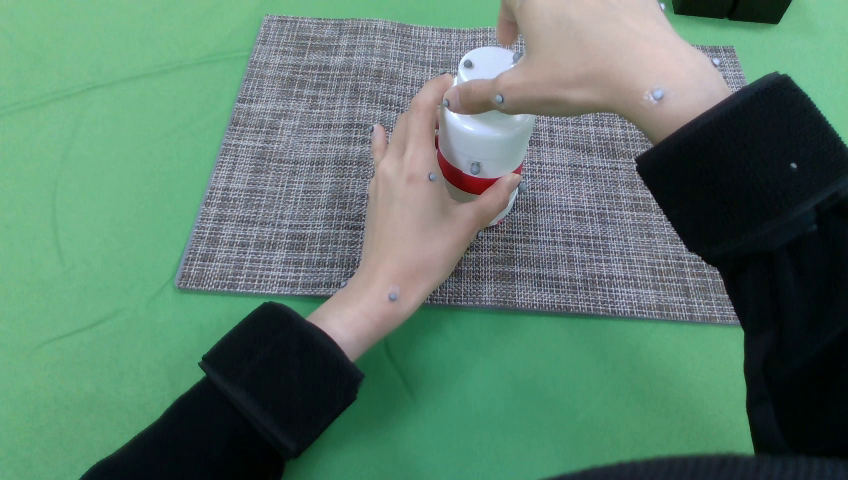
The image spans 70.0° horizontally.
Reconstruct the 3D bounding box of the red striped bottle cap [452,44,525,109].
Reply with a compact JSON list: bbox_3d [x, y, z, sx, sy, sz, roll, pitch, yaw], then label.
[{"bbox_3d":[0.039,-0.100,0.370,0.044,0.018,0.044,3,51,-3],"label":"red striped bottle cap"}]

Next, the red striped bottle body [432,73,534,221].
[{"bbox_3d":[0.039,-0.071,0.415,0.063,0.120,0.062,1,56,-1],"label":"red striped bottle body"}]
